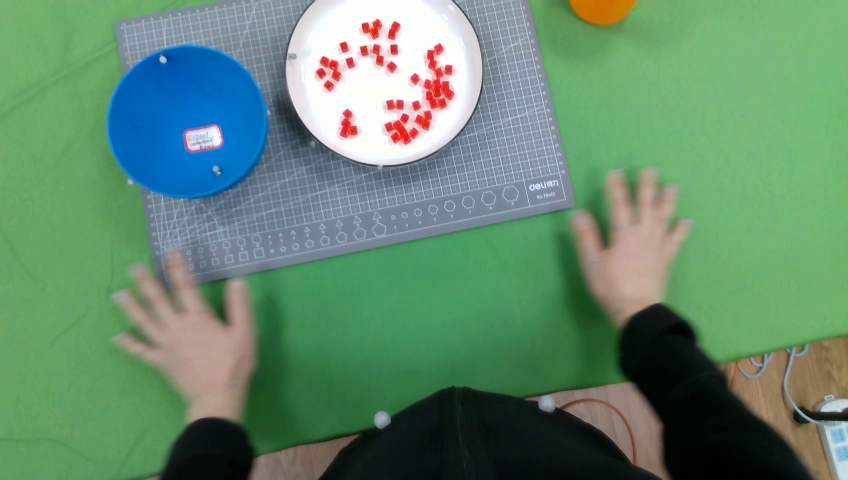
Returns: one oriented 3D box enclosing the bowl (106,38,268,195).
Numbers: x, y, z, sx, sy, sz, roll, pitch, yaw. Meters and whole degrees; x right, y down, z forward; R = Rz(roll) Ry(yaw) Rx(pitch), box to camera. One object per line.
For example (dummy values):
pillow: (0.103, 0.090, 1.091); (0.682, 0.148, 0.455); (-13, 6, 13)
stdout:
bowl: (-0.226, -0.113, 0.611); (0.151, 0.077, 0.151); (0, 84, -2)

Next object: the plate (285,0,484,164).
plate: (-0.040, -0.181, 0.644); (0.209, 0.038, 0.208); (0, 84, -1)
